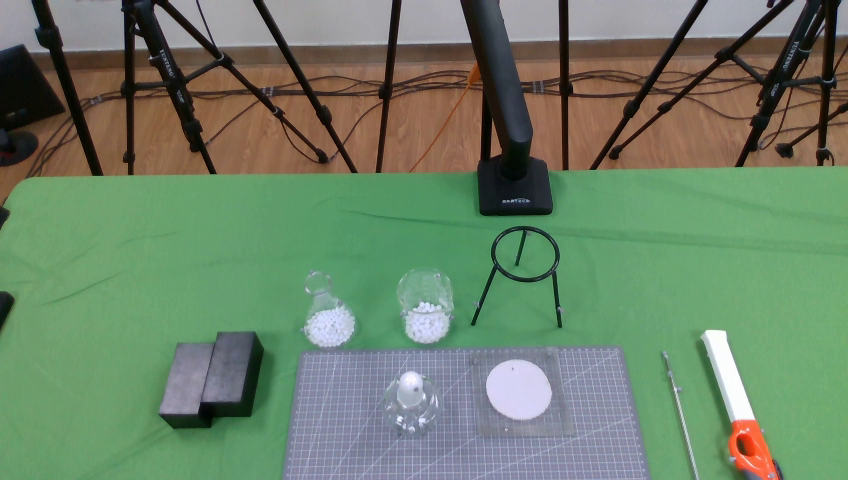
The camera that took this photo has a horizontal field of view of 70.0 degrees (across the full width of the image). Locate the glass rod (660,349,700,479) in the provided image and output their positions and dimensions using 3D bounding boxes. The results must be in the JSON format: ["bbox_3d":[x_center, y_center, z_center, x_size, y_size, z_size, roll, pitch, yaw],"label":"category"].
[{"bbox_3d":[0.330,0.230,0.777,0.008,0.008,0.197,-1,53,1],"label":"glass rod"}]

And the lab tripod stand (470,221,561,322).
[{"bbox_3d":[0.130,0.051,0.838,0.148,0.132,0.147,-1,56,2],"label":"lab tripod stand"}]

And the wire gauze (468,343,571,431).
[{"bbox_3d":[0.125,0.195,0.807,0.125,0.011,0.120,-1,54,-2],"label":"wire gauze"}]

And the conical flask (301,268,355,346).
[{"bbox_3d":[-0.138,0.087,0.827,0.075,0.123,0.074,-1,54,1],"label":"conical flask"}]

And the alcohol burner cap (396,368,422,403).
[{"bbox_3d":[-0.017,0.170,0.719,0.034,0.048,0.033,3,54,-3],"label":"alcohol burner cap"}]

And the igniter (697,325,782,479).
[{"bbox_3d":[0.400,0.232,0.762,0.057,0.025,0.274,4,54,-8],"label":"igniter"}]

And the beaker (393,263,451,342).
[{"bbox_3d":[0.002,0.091,0.834,0.083,0.101,0.074,30,60,21],"label":"beaker"}]

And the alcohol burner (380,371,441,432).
[{"bbox_3d":[-0.017,0.192,0.748,0.078,0.120,0.077,0,55,1],"label":"alcohol burner"}]
